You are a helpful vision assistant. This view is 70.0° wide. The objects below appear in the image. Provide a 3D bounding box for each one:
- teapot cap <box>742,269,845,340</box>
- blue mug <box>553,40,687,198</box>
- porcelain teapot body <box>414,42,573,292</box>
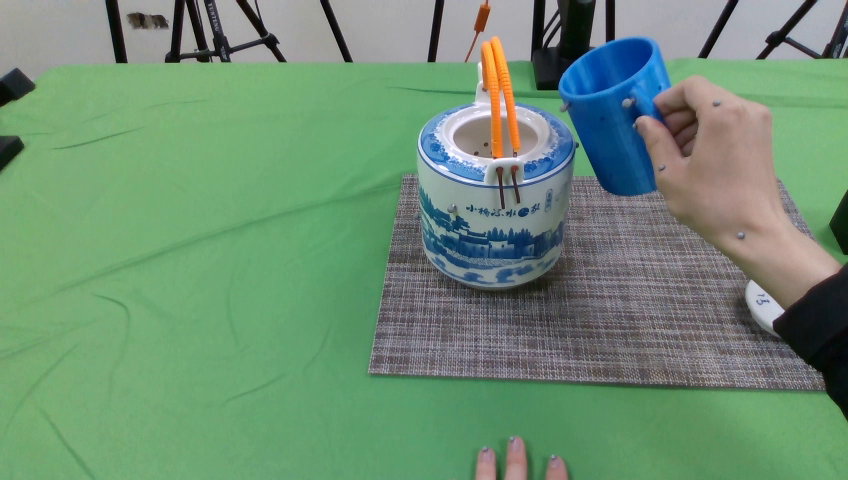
[{"bbox_3d":[0.336,0.053,0.549,0.085,0.044,0.084,0,41,0],"label":"teapot cap"},{"bbox_3d":[0.171,-0.093,0.503,0.082,0.107,0.115,-32,33,7],"label":"blue mug"},{"bbox_3d":[0.061,-0.088,0.587,0.145,0.227,0.203,-4,41,-1],"label":"porcelain teapot body"}]
